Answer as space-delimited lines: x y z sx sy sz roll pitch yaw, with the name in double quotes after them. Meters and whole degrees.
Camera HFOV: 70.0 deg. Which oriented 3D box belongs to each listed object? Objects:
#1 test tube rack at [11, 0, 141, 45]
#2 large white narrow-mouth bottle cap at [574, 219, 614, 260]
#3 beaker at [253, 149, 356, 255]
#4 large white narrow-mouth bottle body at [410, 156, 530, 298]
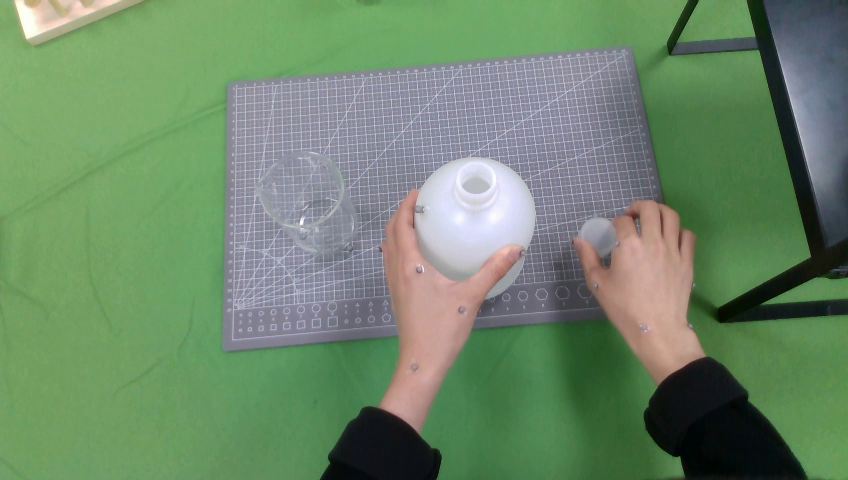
-0.365 -0.319 0.686 0.242 0.085 0.066 -25 73 -6 "test tube rack"
0.165 0.000 0.588 0.038 0.024 0.037 -1 74 4 "large white narrow-mouth bottle cap"
-0.109 -0.031 0.578 0.084 0.101 0.073 5 72 4 "beaker"
0.040 -0.015 0.519 0.102 0.196 0.101 -1 73 4 "large white narrow-mouth bottle body"
